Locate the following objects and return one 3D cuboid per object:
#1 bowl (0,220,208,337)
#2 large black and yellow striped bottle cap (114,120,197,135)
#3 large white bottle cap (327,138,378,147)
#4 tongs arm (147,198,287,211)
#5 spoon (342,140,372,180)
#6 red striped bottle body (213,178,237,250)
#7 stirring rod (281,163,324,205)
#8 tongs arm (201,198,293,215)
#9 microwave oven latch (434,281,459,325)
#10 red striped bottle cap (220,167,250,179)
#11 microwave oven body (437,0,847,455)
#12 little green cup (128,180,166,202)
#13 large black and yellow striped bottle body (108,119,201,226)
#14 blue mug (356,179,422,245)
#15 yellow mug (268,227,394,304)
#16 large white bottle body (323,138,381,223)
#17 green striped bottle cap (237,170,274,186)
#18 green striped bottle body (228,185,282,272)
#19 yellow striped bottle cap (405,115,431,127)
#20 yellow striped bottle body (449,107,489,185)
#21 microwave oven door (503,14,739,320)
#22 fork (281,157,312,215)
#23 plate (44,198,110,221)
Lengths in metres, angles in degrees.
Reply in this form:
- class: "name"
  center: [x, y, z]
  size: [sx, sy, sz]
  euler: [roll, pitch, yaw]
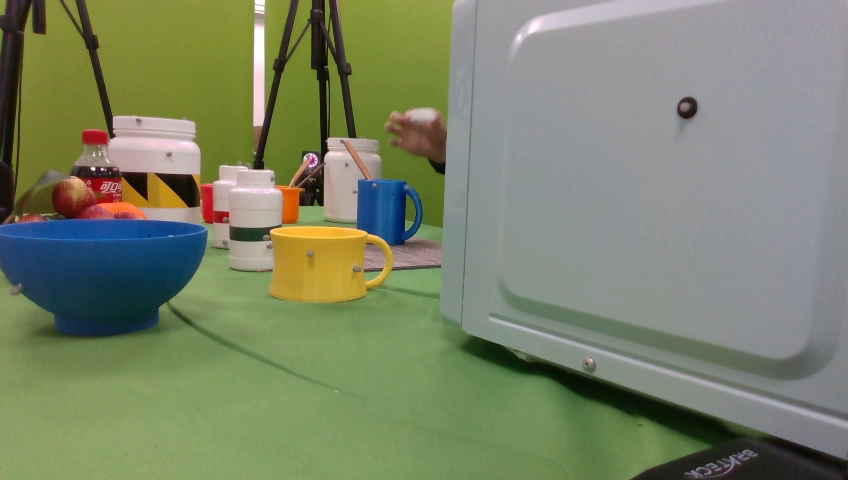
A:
- class: "bowl"
  center: [-0.251, 0.029, 0.479]
  size: [0.151, 0.077, 0.151]
  euler: [2, 7, 0]
- class: "large black and yellow striped bottle cap"
  center: [-0.407, -0.171, 0.920]
  size: [0.115, 0.019, 0.115]
  euler: [2, 9, 0]
- class: "large white bottle cap"
  center: [-0.160, -0.218, 1.357]
  size: [0.115, 0.018, 0.115]
  euler: [2, 8, 0]
- class: "tongs arm"
  center: [-0.504, -0.091, 1.513]
  size: [0.028, 0.028, 0.389]
  euler: [0, 4, 37]
- class: "spoon"
  center: [-0.093, -0.094, 1.024]
  size: [0.042, 0.193, 0.021]
  euler: [-8, -23, -50]
- class: "red striped bottle body"
  center: [-0.284, -0.048, 0.909]
  size: [0.063, 0.119, 0.063]
  euler: [3, 10, 0]
- class: "stirring rod"
  center: [-0.278, -0.105, 1.293]
  size: [0.176, 0.006, 0.014]
  euler: [-47, 24, -18]
- class: "tongs arm"
  center: [-0.423, -0.084, 1.472]
  size: [0.050, 0.026, 0.386]
  euler: [2, 6, 21]
- class: "microwave oven latch"
  center: [0.044, 0.045, 0.470]
  size: [0.079, 0.029, 0.030]
  euler: [-2, 8, -39]
- class: "red striped bottle cap"
  center: [-0.281, -0.100, 0.901]
  size: [0.044, 0.017, 0.044]
  euler: [-1, 5, 0]
- class: "microwave oven body"
  center: [0.279, -0.040, 0.464]
  size: [0.444, 0.260, 0.324]
  euler: [-3, 9, -41]
- class: "little green cup"
  center: [-0.485, -0.087, 1.062]
  size: [0.061, 0.038, 0.061]
  euler: [-1, 6, 0]
- class: "large black and yellow striped bottle body"
  center: [-0.412, -0.088, 0.930]
  size: [0.131, 0.184, 0.130]
  euler: [3, 7, 0]
- class: "blue mug"
  center: [-0.057, -0.047, 1.006]
  size: [0.116, 0.106, 0.082]
  euler: [5, 8, 21]
- class: "yellow mug"
  center: [-0.094, 0.023, 0.629]
  size: [0.131, 0.064, 0.099]
  euler: [0, 7, -22]
- class: "large white bottle body"
  center: [-0.163, -0.135, 1.368]
  size: [0.131, 0.184, 0.130]
  euler: [2, 7, 0]
- class: "green striped bottle cap"
  center: [-0.205, -0.075, 0.737]
  size: [0.044, 0.020, 0.044]
  euler: [1, 6, 0]
- class: "green striped bottle body"
  center: [-0.208, -0.023, 0.745]
  size: [0.063, 0.119, 0.063]
  euler: [2, 7, 0]
- class: "yellow striped bottle cap"
  center: [-0.010, -0.207, 1.054]
  size: [0.044, 0.018, 0.044]
  euler: [-1, 5, 0]
- class: "yellow striped bottle body"
  center: [0.072, -0.148, 0.955]
  size: [0.063, 0.120, 0.063]
  euler: [0, 8, 0]
- class: "microwave oven door"
  center: [0.217, -0.065, 0.601]
  size: [0.358, 0.243, 0.039]
  euler: [-4, 10, -41]
- class: "fork"
  center: [-0.289, -0.116, 1.321]
  size: [0.028, 0.019, 0.207]
  euler: [6, 51, 19]
- class: "plate"
  center: [-0.617, -0.056, 1.179]
  size: [0.209, 0.038, 0.209]
  euler: [3, 7, 0]
